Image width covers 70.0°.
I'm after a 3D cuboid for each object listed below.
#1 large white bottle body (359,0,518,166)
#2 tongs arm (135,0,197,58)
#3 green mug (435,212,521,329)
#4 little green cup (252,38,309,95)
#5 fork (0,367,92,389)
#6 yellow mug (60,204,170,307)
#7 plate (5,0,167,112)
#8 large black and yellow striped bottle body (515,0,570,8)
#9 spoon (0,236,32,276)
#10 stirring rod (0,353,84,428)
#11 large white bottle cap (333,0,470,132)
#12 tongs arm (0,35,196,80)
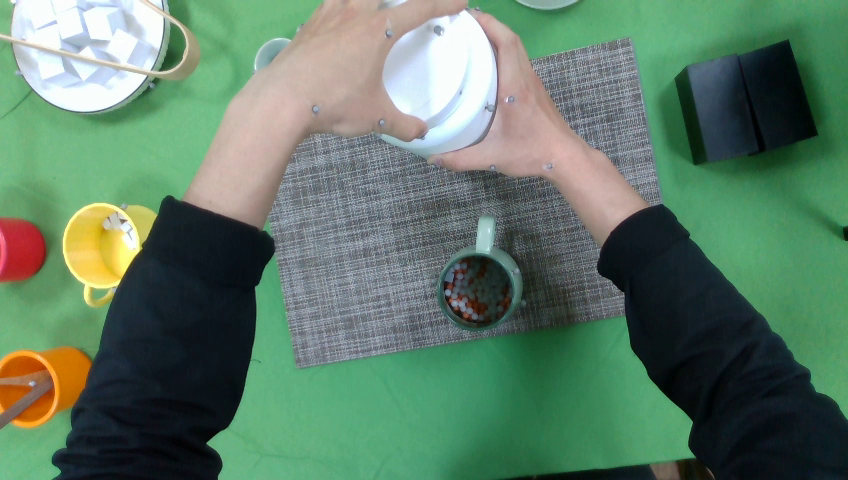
[{"bbox_3d":[0.008,-0.145,0.569,0.130,0.185,0.130,0,89,20],"label":"large white bottle body"},{"bbox_3d":[-0.418,-0.322,0.710,0.386,0.028,0.028,32,90,8],"label":"tongs arm"},{"bbox_3d":[0.059,0.032,0.646,0.092,0.105,0.125,6,92,9],"label":"green mug"},{"bbox_3d":[-0.165,-0.200,0.708,0.061,0.038,0.061,0,92,9],"label":"little green cup"},{"bbox_3d":[-0.510,0.166,0.713,0.209,0.018,0.028,6,90,-35],"label":"fork"},{"bbox_3d":[-0.376,0.021,0.731,0.100,0.064,0.131,22,96,7],"label":"yellow mug"},{"bbox_3d":[-0.407,-0.259,0.741,0.207,0.039,0.207,0,92,8],"label":"plate"},{"bbox_3d":[0.122,-0.322,0.590,0.130,0.184,0.130,0,91,9],"label":"large black and yellow striped bottle body"},{"bbox_3d":[-0.537,-0.027,0.712,0.041,0.021,0.196,-15,134,7],"label":"spoon"},{"bbox_3d":[-0.481,0.198,0.715,0.014,0.006,0.175,39,54,5],"label":"stirring rod"},{"bbox_3d":[-0.020,-0.146,0.490,0.114,0.018,0.114,0,90,19],"label":"large white bottle cap"},{"bbox_3d":[-0.451,-0.245,0.715,0.384,0.026,0.051,18,91,9],"label":"tongs arm"}]
